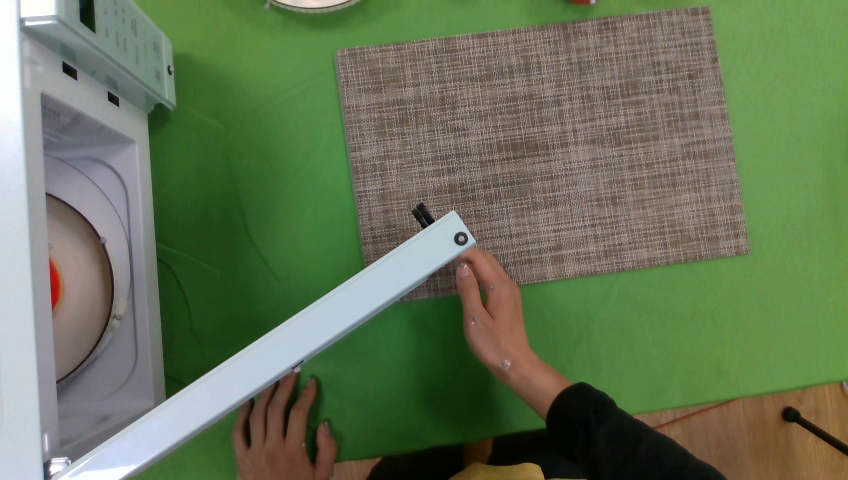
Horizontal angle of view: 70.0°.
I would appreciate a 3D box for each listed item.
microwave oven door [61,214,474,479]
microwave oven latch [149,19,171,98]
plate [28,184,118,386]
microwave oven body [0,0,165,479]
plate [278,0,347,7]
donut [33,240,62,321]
[{"bbox_3d":[-0.119,0.091,0.556,0.356,0.244,0.039,-34,88,-3],"label":"microwave oven door"},{"bbox_3d":[-0.295,-0.197,0.662,0.030,0.029,0.079,-4,88,-3],"label":"microwave oven latch"},{"bbox_3d":[-0.409,0.047,0.603,0.209,0.038,0.209,0,88,-3],"label":"plate"},{"bbox_3d":[-0.424,-0.013,0.553,0.326,0.260,0.441,-5,88,-3],"label":"microwave oven body"},{"bbox_3d":[-0.128,-0.365,0.695,0.208,0.039,0.207,0,87,-2],"label":"plate"},{"bbox_3d":[-0.406,0.043,0.590,0.099,0.048,0.099,0,85,-2],"label":"donut"}]
